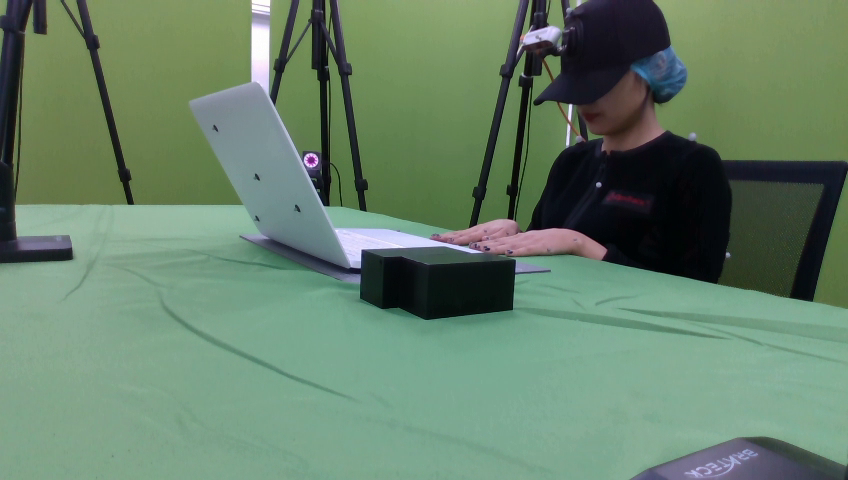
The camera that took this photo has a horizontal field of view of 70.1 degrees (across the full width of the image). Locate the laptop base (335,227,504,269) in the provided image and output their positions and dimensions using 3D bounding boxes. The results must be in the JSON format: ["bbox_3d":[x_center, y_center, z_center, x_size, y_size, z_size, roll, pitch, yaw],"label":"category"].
[{"bbox_3d":[-0.077,0.009,0.914,0.237,0.023,0.352,1,7,-33],"label":"laptop base"}]

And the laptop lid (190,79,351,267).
[{"bbox_3d":[-0.220,-0.087,0.809,0.013,0.242,0.355,-34,25,-24],"label":"laptop lid"}]
